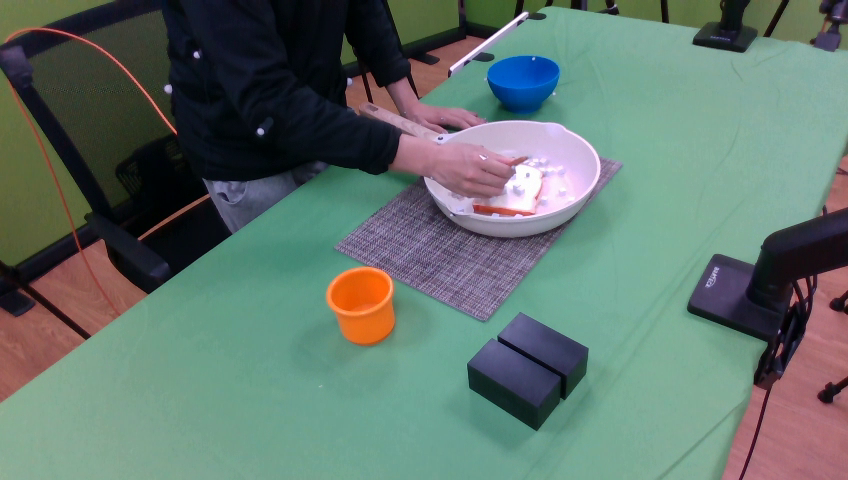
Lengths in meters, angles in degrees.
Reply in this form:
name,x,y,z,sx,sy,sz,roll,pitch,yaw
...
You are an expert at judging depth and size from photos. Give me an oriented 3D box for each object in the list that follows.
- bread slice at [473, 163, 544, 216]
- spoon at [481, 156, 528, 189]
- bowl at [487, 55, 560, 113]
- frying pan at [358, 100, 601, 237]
name,x,y,z,sx,sy,sz,roll,pitch,yaw
bread slice,0.150,-0.089,1.041,0.106,0.018,0.134,7,43,15
spoon,0.125,-0.105,0.938,0.042,0.193,0.021,-11,82,-9
bowl,0.208,-0.319,1.266,0.151,0.077,0.150,-4,41,4
frying pan,0.067,-0.153,1.067,0.484,0.103,0.308,32,52,26
